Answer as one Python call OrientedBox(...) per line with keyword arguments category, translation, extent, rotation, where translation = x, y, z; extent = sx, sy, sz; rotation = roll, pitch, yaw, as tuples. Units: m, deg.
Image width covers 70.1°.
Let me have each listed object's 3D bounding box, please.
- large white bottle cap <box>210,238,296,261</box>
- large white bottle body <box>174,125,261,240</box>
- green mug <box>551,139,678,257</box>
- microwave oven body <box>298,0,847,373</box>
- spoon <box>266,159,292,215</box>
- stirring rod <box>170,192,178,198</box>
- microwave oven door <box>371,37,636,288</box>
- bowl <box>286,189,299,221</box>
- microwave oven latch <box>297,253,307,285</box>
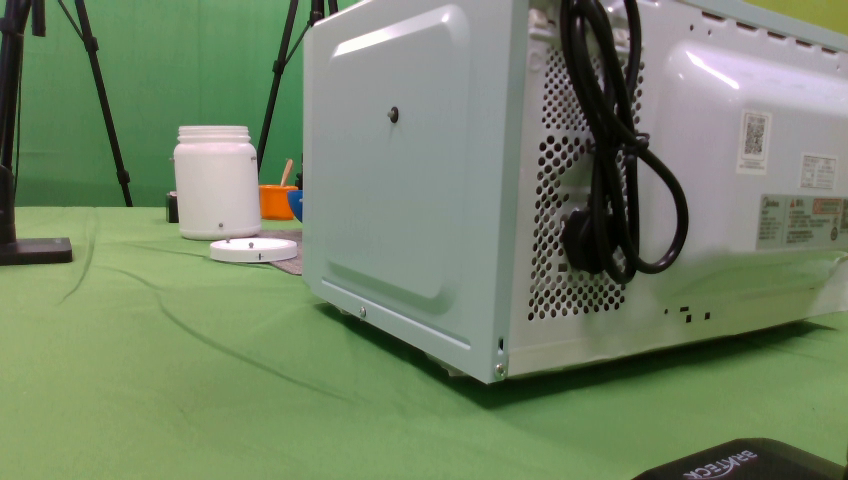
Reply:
OrientedBox(category="large white bottle cap", translation=(-0.236, 0.012, 0.839), extent=(0.115, 0.018, 0.115), rotation=(2, 7, 0))
OrientedBox(category="large white bottle body", translation=(-0.349, -0.100, 1.024), extent=(0.131, 0.184, 0.130), rotation=(-1, 9, 0))
OrientedBox(category="green mug", translation=(0.178, -0.037, 0.582), extent=(0.124, 0.105, 0.093), rotation=(0, 0, 43))
OrientedBox(category="microwave oven body", translation=(0.151, -0.055, 0.543), extent=(0.444, 0.260, 0.324), rotation=(-1, 7, -33))
OrientedBox(category="spoon", translation=(-0.334, -0.127, 1.424), extent=(0.041, 0.193, 0.022), rotation=(0, -37, 7))
OrientedBox(category="stirring rod", translation=(-0.465, -0.098, 1.283), extent=(0.014, 0.006, 0.177), rotation=(42, 21, 17))
OrientedBox(category="microwave oven door", translation=(0.109, -0.080, 0.686), extent=(0.358, 0.243, 0.039), rotation=(-2, 9, -33))
OrientedBox(category="bowl", translation=(-0.179, -0.051, 1.114), extent=(0.151, 0.077, 0.151), rotation=(3, 8, 0))
OrientedBox(category="microwave oven latch", translation=(-0.082, 0.027, 0.582), extent=(0.079, 0.029, 0.030), rotation=(-1, 7, -32))
